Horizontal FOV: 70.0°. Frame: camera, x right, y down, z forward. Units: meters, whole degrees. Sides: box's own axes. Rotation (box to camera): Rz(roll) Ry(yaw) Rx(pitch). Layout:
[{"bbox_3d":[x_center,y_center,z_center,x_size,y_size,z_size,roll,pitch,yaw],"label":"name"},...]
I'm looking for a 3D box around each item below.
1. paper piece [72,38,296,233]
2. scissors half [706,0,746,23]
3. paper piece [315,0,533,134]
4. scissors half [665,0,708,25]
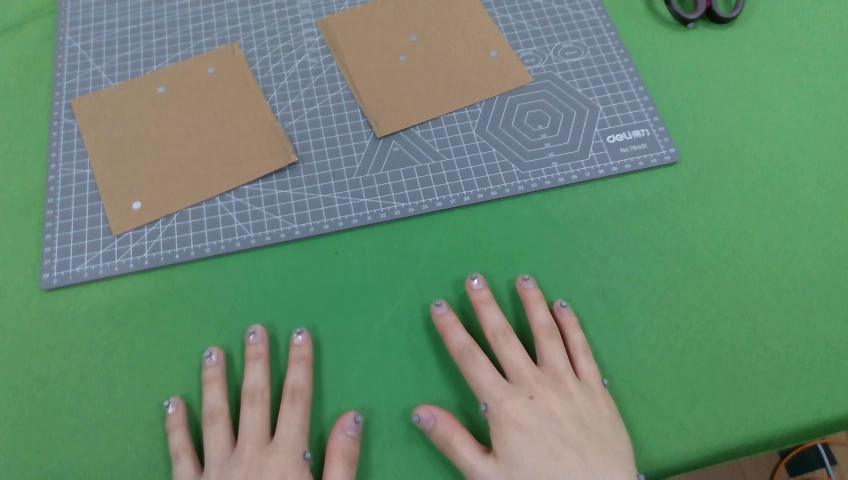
[{"bbox_3d":[-0.182,-0.085,0.451,0.138,0.009,0.134,-25,61,-9],"label":"paper piece"},{"bbox_3d":[0.239,-0.267,0.507,0.040,0.013,0.175,-12,87,-4],"label":"scissors half"},{"bbox_3d":[-0.002,-0.157,0.486,0.136,0.004,0.134,-22,66,-10],"label":"paper piece"},{"bbox_3d":[0.219,-0.266,0.505,0.040,0.013,0.174,5,85,-8],"label":"scissors half"}]
